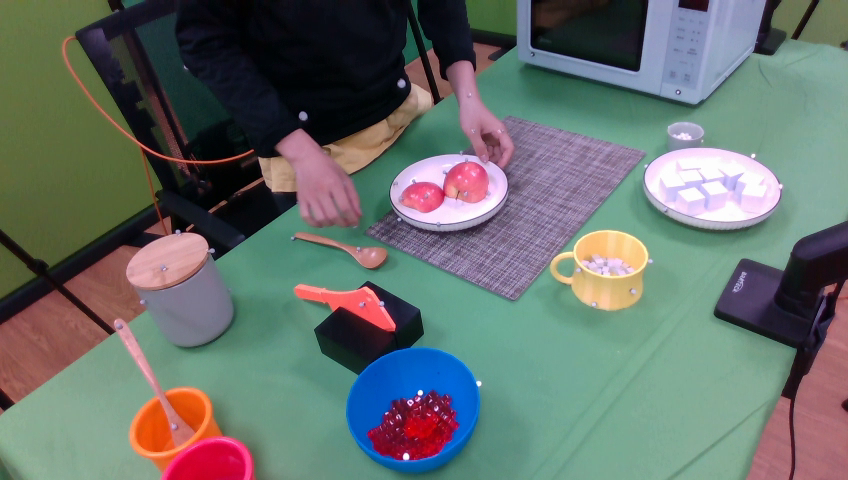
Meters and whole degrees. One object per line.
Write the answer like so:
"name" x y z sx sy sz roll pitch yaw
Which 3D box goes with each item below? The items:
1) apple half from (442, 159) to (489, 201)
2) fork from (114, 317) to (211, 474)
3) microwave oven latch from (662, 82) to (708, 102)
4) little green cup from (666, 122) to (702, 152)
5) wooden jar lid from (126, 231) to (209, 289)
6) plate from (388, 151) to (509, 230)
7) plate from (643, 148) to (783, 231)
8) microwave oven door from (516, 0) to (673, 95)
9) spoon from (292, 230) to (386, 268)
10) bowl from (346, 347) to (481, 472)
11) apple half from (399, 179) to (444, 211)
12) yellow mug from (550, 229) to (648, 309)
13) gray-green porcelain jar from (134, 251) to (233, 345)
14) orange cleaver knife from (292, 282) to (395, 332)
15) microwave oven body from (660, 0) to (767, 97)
"apple half" 0.074 -0.110 1.047 0.080 0.053 0.075 21 45 30
"fork" -0.309 0.179 0.708 0.028 0.018 0.207 -30 89 -24
"microwave oven latch" 0.517 -0.298 1.203 0.078 0.029 0.030 28 52 35
"little green cup" 0.471 -0.184 1.102 0.061 0.039 0.061 -5 41 5
"wooden jar lid" -0.340 0.030 0.809 0.108 0.021 0.108 -5 39 5
"plate" 0.043 -0.082 1.042 0.209 0.038 0.208 -4 40 4
"plate" 0.464 -0.080 0.986 0.207 0.039 0.206 -4 41 4
"microwave oven door" 0.344 -0.458 1.257 0.353 0.245 0.039 26 52 33
"spoon" -0.142 0.007 0.982 0.192 0.022 0.041 17 67 25
"bowl" -0.008 0.205 0.691 0.151 0.077 0.150 -4 40 4
"apple half" -0.004 -0.088 1.045 0.081 0.033 0.081 -2 42 2
"yellow mug" 0.245 0.040 0.857 0.130 0.064 0.099 1 42 11
"gray-green porcelain jar" -0.334 0.076 0.849 0.106 0.127 0.105 -4 41 4
"orange cleaver knife" -0.116 0.091 0.835 0.209 0.077 0.012 2 32 48
"microwave oven body" 0.473 -0.517 1.314 0.438 0.261 0.327 26 51 34
